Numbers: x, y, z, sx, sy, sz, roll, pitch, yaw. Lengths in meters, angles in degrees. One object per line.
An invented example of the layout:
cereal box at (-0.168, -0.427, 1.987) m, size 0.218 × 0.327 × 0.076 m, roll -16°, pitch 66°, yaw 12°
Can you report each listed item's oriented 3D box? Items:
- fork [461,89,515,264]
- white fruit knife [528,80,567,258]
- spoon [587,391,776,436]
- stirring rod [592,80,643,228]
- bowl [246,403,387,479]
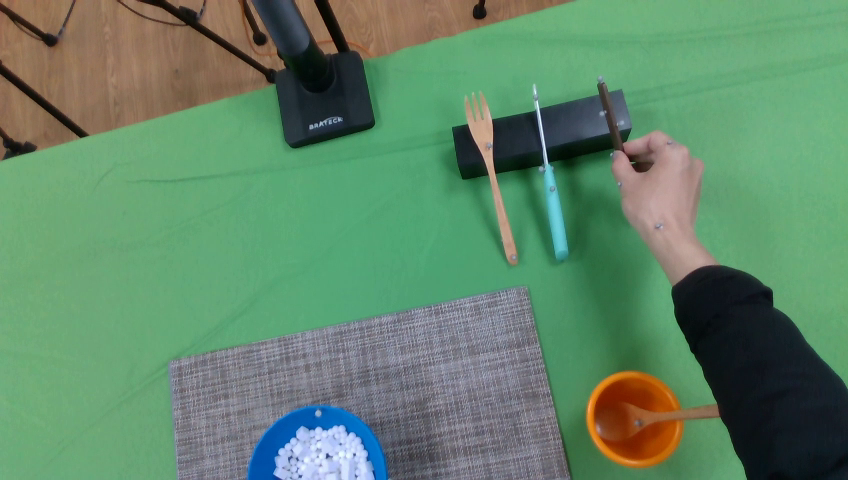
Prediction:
fork at (0.078, -0.072, 0.705) m, size 0.028 × 0.018 × 0.207 m, roll -14°, pitch 95°, yaw 2°
white fruit knife at (0.139, -0.081, 0.697) m, size 0.016 × 0.027 × 0.207 m, roll -11°, pitch 92°, yaw 4°
spoon at (0.241, 0.167, 0.590) m, size 0.193 × 0.022 × 0.041 m, roll -27°, pitch 69°, yaw 49°
stirring rod at (0.212, -0.090, 0.658) m, size 0.006 × 0.014 × 0.177 m, roll -29°, pitch 112°, yaw -12°
bowl at (-0.106, 0.253, 0.657) m, size 0.151 × 0.077 × 0.150 m, roll -2°, pitch 76°, yaw 9°
